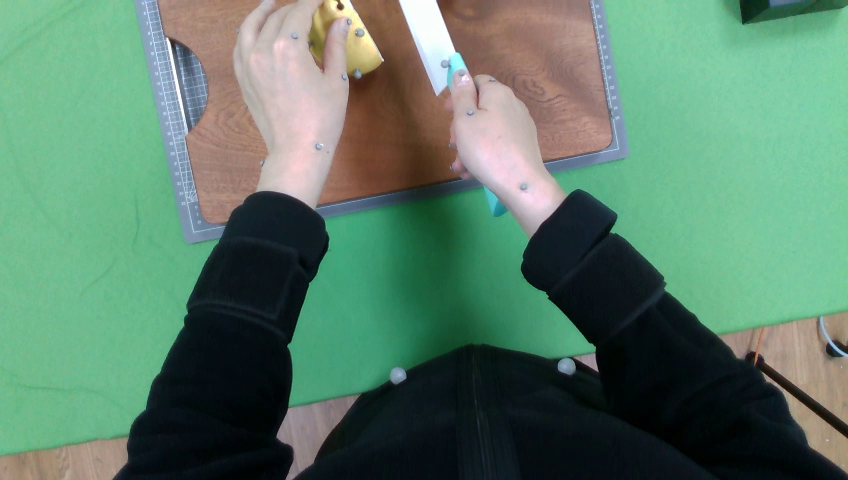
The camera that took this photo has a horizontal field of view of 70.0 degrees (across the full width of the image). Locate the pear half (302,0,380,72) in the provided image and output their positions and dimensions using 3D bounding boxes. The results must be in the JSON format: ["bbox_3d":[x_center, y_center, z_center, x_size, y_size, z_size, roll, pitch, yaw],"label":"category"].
[{"bbox_3d":[-0.078,-0.181,0.518,0.056,0.110,0.076,-35,85,2],"label":"pear half"}]

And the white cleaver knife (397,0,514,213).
[{"bbox_3d":[0.013,-0.157,0.507,0.021,0.066,0.286,-19,88,-21],"label":"white cleaver knife"}]
